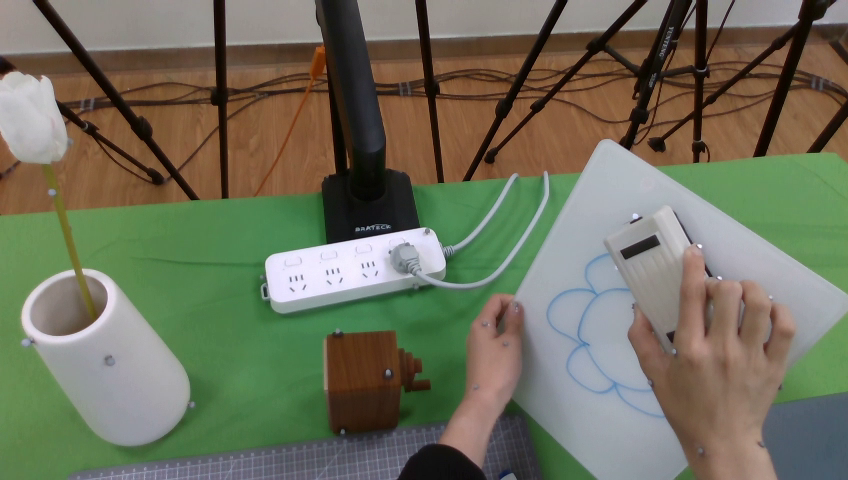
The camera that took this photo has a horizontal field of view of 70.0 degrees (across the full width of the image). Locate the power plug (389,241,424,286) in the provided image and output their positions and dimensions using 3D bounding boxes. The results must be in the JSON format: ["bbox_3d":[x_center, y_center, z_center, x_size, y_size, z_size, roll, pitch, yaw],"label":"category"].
[{"bbox_3d":[-0.022,0.034,0.702,0.035,0.053,0.072,-2,54,-6],"label":"power plug"}]

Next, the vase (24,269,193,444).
[{"bbox_3d":[-0.279,0.109,0.545,0.098,0.201,0.097,2,52,-2],"label":"vase"}]

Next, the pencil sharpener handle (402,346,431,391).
[{"bbox_3d":[-0.006,0.129,0.598,0.031,0.068,0.035,-3,52,-8],"label":"pencil sharpener handle"}]

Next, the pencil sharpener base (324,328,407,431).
[{"bbox_3d":[-0.058,0.140,0.600,0.077,0.108,0.060,-3,52,-8],"label":"pencil sharpener base"}]

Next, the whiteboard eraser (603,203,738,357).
[{"bbox_3d":[0.192,0.031,0.474,0.042,0.055,0.112,-21,82,-54],"label":"whiteboard eraser"}]

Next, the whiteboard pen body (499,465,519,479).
[{"bbox_3d":[0.108,0.276,0.563,0.017,0.017,0.139,-19,57,-18],"label":"whiteboard pen body"}]

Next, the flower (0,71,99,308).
[{"bbox_3d":[-0.270,0.044,0.492,0.038,0.364,0.043,-14,37,-24],"label":"flower"}]

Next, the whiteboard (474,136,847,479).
[{"bbox_3d":[0.221,0.072,0.591,0.215,0.307,0.144,41,41,25],"label":"whiteboard"}]

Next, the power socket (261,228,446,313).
[{"bbox_3d":[-0.080,0.035,0.725,0.227,0.033,0.071,-10,55,-13],"label":"power socket"}]

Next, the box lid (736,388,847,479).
[{"bbox_3d":[0.407,0.267,0.414,0.264,0.015,0.367,-6,53,-10],"label":"box lid"}]

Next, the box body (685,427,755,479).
[{"bbox_3d":[0.402,0.315,0.472,0.255,0.161,0.360,-6,53,-9],"label":"box body"}]
